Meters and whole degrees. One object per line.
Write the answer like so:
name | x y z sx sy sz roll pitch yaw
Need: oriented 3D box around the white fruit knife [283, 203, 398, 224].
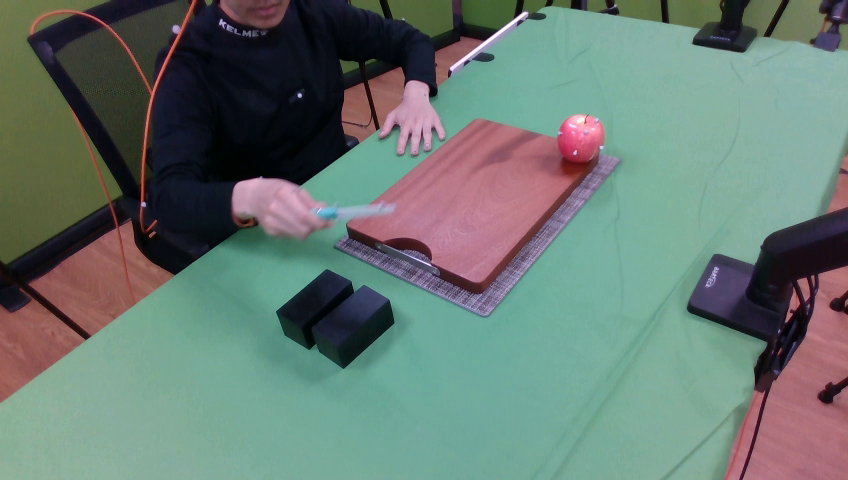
white fruit knife | -0.117 -0.037 0.808 0.206 0.028 0.016 -5 65 34

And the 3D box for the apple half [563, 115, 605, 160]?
apple half | 0.284 -0.181 1.057 0.053 0.075 0.080 -32 44 -31

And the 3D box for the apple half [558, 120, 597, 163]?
apple half | 0.255 -0.163 1.037 0.033 0.081 0.080 -33 46 -31
